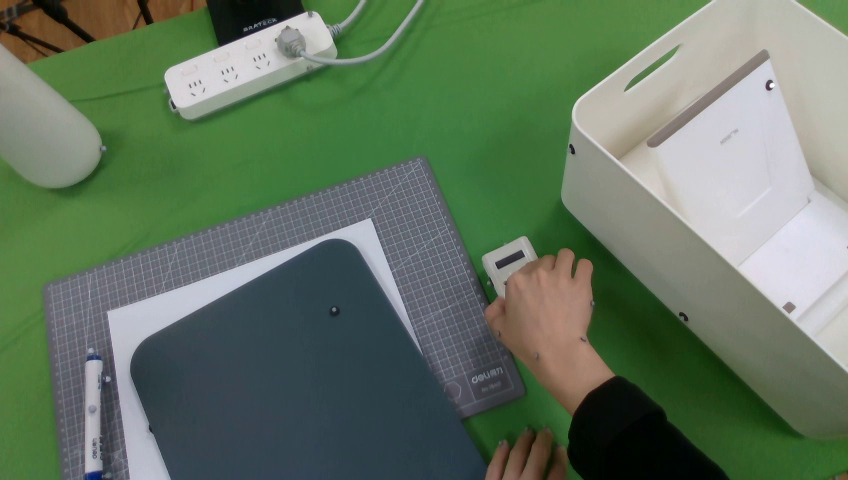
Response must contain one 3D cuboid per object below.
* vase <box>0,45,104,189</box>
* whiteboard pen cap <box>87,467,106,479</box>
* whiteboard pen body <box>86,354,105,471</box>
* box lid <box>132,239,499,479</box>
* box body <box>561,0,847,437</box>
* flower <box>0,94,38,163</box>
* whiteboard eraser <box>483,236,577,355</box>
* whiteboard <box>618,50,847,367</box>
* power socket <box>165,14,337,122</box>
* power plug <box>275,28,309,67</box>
[{"bbox_3d":[-0.440,-0.137,0.652,0.098,0.201,0.097,-2,65,5],"label":"vase"},{"bbox_3d":[-0.309,0.233,0.572,0.018,0.018,0.033,-13,67,-1],"label":"whiteboard pen cap"},{"bbox_3d":[-0.322,0.180,0.593,0.017,0.017,0.139,-12,68,-1],"label":"whiteboard pen body"},{"bbox_3d":[-0.105,0.190,0.583,0.263,0.015,0.368,-30,68,-10],"label":"box lid"},{"bbox_3d":[0.335,-0.029,0.568,0.254,0.161,0.361,-37,68,-12],"label":"box body"},{"bbox_3d":[-0.424,-0.171,0.576,0.038,0.363,0.044,28,60,-2],"label":"flower"},{"bbox_3d":[0.105,0.055,0.612,0.055,0.042,0.111,-25,65,2],"label":"whiteboard eraser"},{"bbox_3d":[0.333,-0.036,0.582,0.217,0.145,0.303,-37,67,-13],"label":"whiteboard"},{"bbox_3d":[-0.216,-0.218,0.764,0.227,0.033,0.071,-25,67,-8],"label":"power socket"},{"bbox_3d":[-0.159,-0.225,0.739,0.035,0.053,0.072,-15,72,-3],"label":"power plug"}]
